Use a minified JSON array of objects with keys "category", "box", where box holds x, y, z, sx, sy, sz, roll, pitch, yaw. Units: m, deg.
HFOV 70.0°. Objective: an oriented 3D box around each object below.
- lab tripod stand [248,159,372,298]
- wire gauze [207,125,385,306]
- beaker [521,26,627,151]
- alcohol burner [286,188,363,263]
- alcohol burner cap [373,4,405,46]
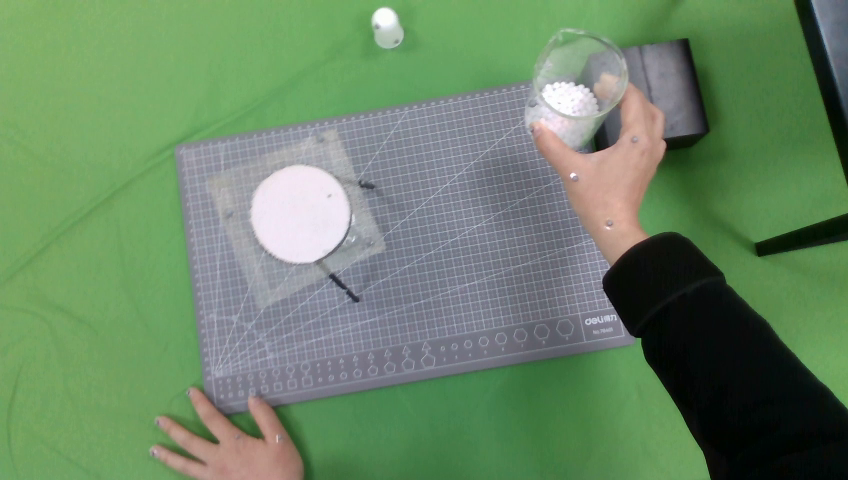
[{"category":"lab tripod stand","box":[-0.103,-0.014,0.587,0.148,0.132,0.148,0,83,1]},{"category":"wire gauze","box":[-0.110,-0.024,0.521,0.121,0.011,0.124,-23,84,-2]},{"category":"beaker","box":[0.122,-0.126,0.525,0.074,0.100,0.083,-19,80,-1]},{"category":"alcohol burner","box":[-0.102,-0.017,0.597,0.078,0.119,0.077,-1,81,4]},{"category":"alcohol burner cap","box":[-0.039,-0.237,0.661,0.034,0.048,0.034,-1,84,5]}]
